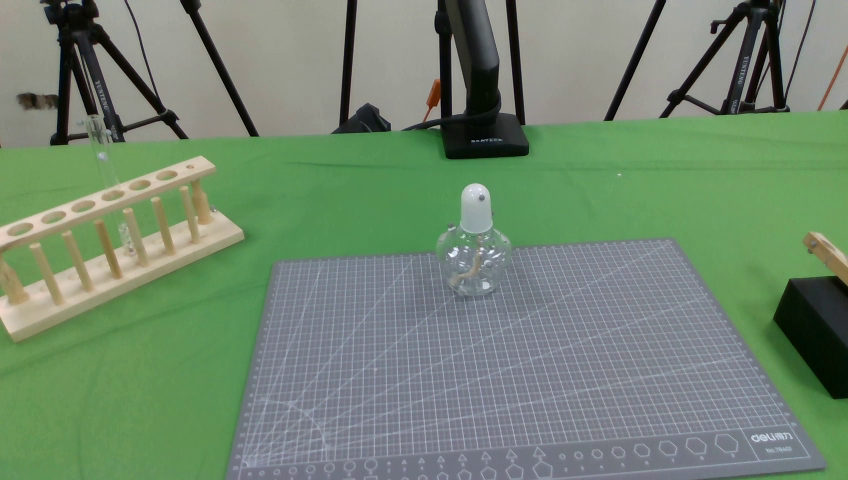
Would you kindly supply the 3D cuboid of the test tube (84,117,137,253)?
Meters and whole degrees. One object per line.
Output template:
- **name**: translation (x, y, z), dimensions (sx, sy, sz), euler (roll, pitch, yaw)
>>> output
- **test tube**: translation (-0.319, -0.053, 0.624), dimensions (0.017, 0.151, 0.017), euler (-1, 30, 1)

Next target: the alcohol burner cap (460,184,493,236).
- **alcohol burner cap**: translation (0.050, -0.031, 0.578), dimensions (0.034, 0.048, 0.033), euler (-2, 40, 2)

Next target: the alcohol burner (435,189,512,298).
- **alcohol burner**: translation (0.050, -0.002, 0.599), dimensions (0.078, 0.120, 0.077), euler (0, 38, 0)

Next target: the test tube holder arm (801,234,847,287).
- **test tube holder arm**: translation (0.380, 0.024, 0.557), dimensions (0.010, 0.015, 0.087), euler (0, 36, -11)

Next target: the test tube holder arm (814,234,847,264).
- **test tube holder arm**: translation (0.392, 0.050, 0.523), dimensions (0.013, 0.015, 0.176), euler (0, 36, -11)

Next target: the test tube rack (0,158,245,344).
- **test tube rack**: translation (-0.319, 0.003, 0.632), dimensions (0.242, 0.086, 0.066), euler (-29, 44, -33)
